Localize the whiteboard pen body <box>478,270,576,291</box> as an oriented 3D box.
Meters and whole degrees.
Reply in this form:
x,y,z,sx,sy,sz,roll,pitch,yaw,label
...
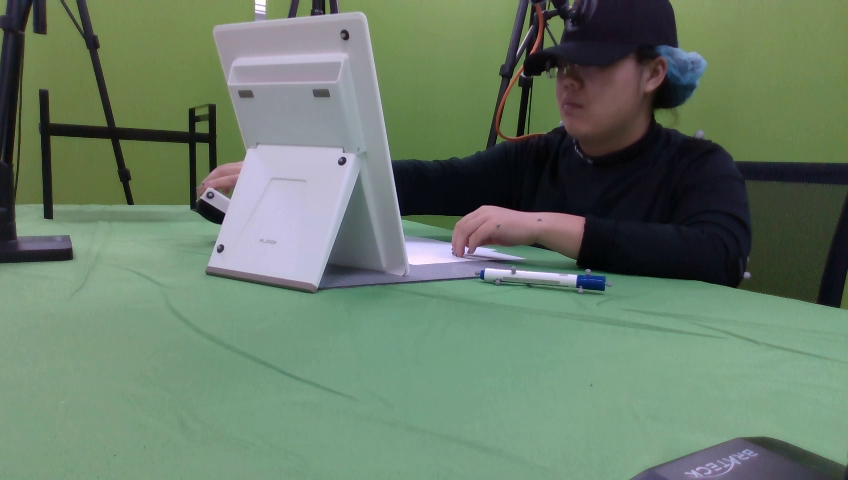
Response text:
x,y,z,sx,sy,sz,roll,pitch,yaw,label
0.131,0.048,0.706,0.140,0.017,0.017,4,7,18,whiteboard pen body

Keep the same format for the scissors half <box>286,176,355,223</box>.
x,y,z,sx,sy,sz,roll,pitch,yaw,label
-0.229,-0.091,1.337,0.175,0.013,0.040,33,18,-13,scissors half

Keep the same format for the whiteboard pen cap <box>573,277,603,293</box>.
x,y,z,sx,sy,sz,roll,pitch,yaw,label
0.186,0.051,0.687,0.033,0.018,0.018,4,8,17,whiteboard pen cap

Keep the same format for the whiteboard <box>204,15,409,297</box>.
x,y,z,sx,sy,sz,roll,pitch,yaw,label
-0.166,-0.072,0.669,0.216,0.305,0.144,8,30,30,whiteboard

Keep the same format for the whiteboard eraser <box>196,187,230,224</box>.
x,y,z,sx,sy,sz,roll,pitch,yaw,label
-0.319,-0.050,0.924,0.056,0.042,0.112,39,-15,-19,whiteboard eraser

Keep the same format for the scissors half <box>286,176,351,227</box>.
x,y,z,sx,sy,sz,roll,pitch,yaw,label
-0.232,-0.085,1.318,0.175,0.013,0.040,39,23,4,scissors half
